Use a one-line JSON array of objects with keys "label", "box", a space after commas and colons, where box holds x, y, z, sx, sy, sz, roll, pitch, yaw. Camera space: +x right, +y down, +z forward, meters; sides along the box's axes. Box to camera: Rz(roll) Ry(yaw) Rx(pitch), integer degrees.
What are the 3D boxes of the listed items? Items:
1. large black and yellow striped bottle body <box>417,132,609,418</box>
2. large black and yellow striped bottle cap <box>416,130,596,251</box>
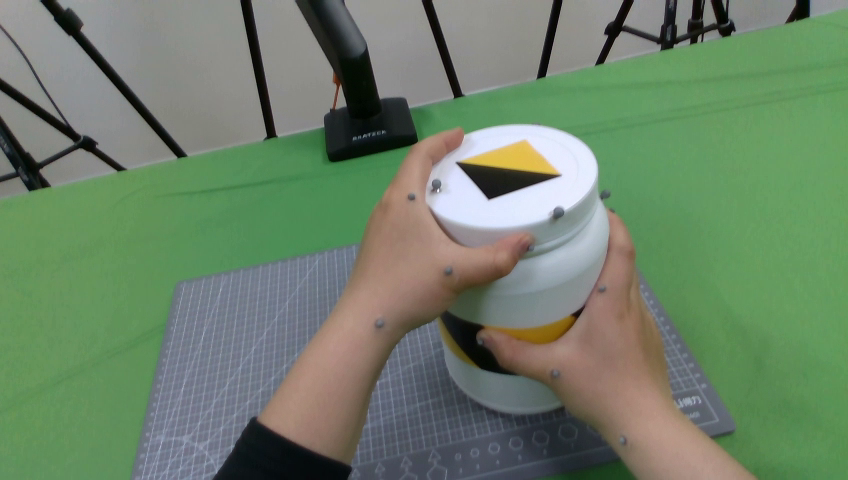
[{"label": "large black and yellow striped bottle body", "box": [0.067, 0.027, 0.444, 0.130, 0.186, 0.129, -7, 41, 6]}, {"label": "large black and yellow striped bottle cap", "box": [0.052, -0.036, 0.390, 0.115, 0.019, 0.114, -6, 40, 5]}]
